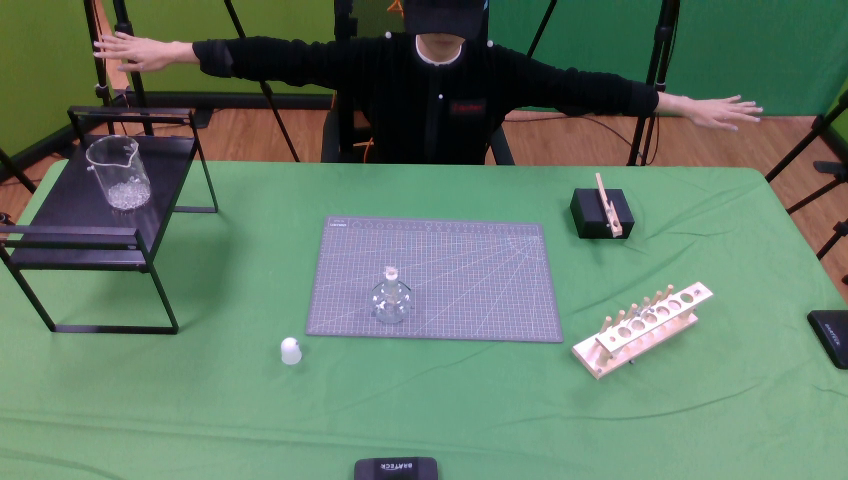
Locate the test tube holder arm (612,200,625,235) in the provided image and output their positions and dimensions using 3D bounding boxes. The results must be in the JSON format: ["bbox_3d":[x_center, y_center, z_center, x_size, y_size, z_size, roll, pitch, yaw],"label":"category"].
[{"bbox_3d":[0.381,-0.045,1.196,0.010,0.015,0.087,-6,45,3],"label":"test tube holder arm"}]

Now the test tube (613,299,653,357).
[{"bbox_3d":[0.329,0.143,0.963,0.017,0.151,0.017,4,48,-4],"label":"test tube"}]

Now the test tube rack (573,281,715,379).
[{"bbox_3d":[0.378,0.140,1.038,0.242,0.085,0.066,-22,51,-23],"label":"test tube rack"}]

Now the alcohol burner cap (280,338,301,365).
[{"bbox_3d":[-0.220,0.179,0.993,0.034,0.048,0.033,2,46,-2],"label":"alcohol burner cap"}]

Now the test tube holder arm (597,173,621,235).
[{"bbox_3d":[0.373,-0.076,1.228,0.013,0.015,0.177,-6,45,3],"label":"test tube holder arm"}]

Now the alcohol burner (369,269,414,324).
[{"bbox_3d":[-0.056,0.089,1.037,0.078,0.120,0.077,1,47,-1],"label":"alcohol burner"}]

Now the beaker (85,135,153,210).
[{"bbox_3d":[-0.475,-0.102,0.957,0.083,0.101,0.074,34,53,26],"label":"beaker"}]
